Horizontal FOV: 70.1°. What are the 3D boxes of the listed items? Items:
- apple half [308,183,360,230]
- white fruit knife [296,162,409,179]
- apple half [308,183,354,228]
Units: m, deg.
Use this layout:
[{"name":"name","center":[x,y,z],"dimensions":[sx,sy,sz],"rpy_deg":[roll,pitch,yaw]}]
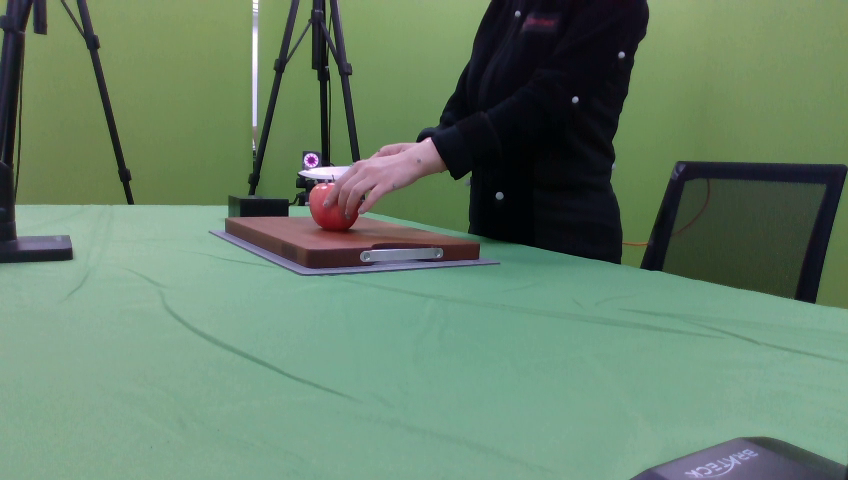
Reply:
[{"name":"apple half","center":[-0.136,-0.052,0.946],"dimensions":[0.081,0.074,0.053],"rpy_deg":[2,9,-32]},{"name":"white fruit knife","center":[-0.112,-0.113,0.988],"dimensions":[0.208,0.027,0.016],"rpy_deg":[-7,-14,-37]},{"name":"apple half","center":[-0.155,-0.058,0.978],"dimensions":[0.082,0.081,0.032],"rpy_deg":[-2,12,-30]}]
